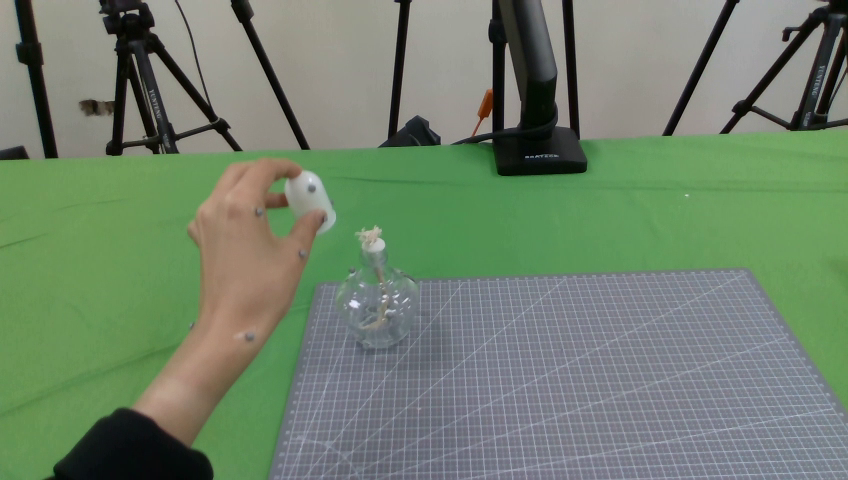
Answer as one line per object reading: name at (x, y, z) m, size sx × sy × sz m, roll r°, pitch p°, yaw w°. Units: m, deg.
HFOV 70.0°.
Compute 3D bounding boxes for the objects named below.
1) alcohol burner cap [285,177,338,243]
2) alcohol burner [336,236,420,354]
alcohol burner cap at (-0.084, -0.025, 0.444) m, size 0.034 × 0.048 × 0.033 m, roll -5°, pitch 46°, yaw 5°
alcohol burner at (-0.042, 0.044, 0.543) m, size 0.078 × 0.120 × 0.077 m, roll -1°, pitch 37°, yaw 1°
